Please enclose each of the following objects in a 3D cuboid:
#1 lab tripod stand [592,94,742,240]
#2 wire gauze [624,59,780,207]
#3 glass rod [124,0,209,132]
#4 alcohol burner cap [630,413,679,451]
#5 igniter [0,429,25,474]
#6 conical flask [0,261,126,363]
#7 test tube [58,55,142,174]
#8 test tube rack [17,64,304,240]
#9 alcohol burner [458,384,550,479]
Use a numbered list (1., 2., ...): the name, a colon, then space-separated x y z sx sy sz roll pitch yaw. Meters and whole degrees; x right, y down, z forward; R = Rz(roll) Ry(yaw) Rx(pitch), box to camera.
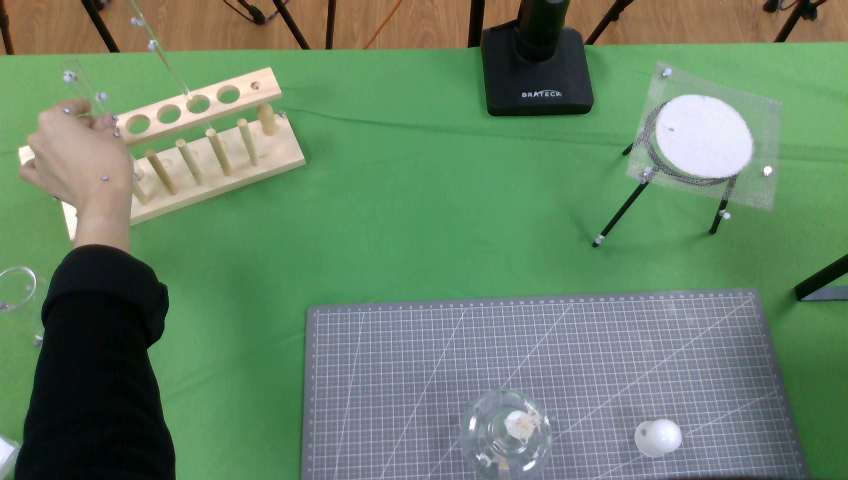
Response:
1. lab tripod stand: 0.237 -0.065 0.588 0.148 0.132 0.147 1 65 -3
2. wire gauze: 0.246 -0.095 0.527 0.121 0.011 0.124 18 68 4
3. glass rod: -0.229 -0.147 0.561 0.008 0.201 0.008 -2 60 5
4. alcohol burner cap: 0.205 0.167 0.533 0.034 0.048 0.033 1 66 -2
5. igniter: -0.399 0.263 0.430 0.057 0.025 0.275 24 67 19
6. conical flask: -0.319 0.057 0.521 0.075 0.122 0.075 1 66 -1
7. test tube: -0.294 -0.109 0.560 0.017 0.151 0.017 1 60 -2
8. test tube rack: -0.252 -0.087 0.606 0.242 0.086 0.066 -22 68 -11
9. alcohol burner: 0.068 0.153 0.495 0.078 0.120 0.077 2 65 -3
